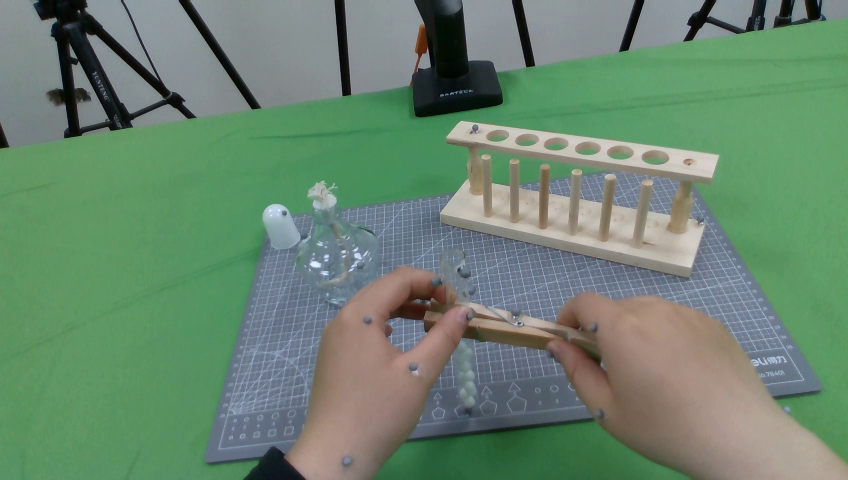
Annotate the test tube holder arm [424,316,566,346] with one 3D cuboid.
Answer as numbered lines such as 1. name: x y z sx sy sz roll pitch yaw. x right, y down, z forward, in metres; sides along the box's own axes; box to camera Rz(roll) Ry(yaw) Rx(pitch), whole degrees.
1. test tube holder arm: 0.044 0.057 0.377 0.087 0.015 0.010 2 49 11

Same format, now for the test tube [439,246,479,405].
1. test tube: 0.025 0.063 0.398 0.017 0.152 0.017 -5 42 5

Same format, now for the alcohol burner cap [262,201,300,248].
1. alcohol burner cap: -0.151 -0.019 0.630 0.034 0.048 0.033 -5 41 5

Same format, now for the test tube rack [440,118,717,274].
1. test tube rack: 0.131 -0.047 0.566 0.241 0.086 0.066 14 46 26

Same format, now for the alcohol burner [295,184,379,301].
1. alcohol burner: -0.081 -0.002 0.539 0.078 0.120 0.077 -5 42 5

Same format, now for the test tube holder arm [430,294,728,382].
1. test tube holder arm: 0.088 0.058 0.368 0.177 0.015 0.013 10 52 18
